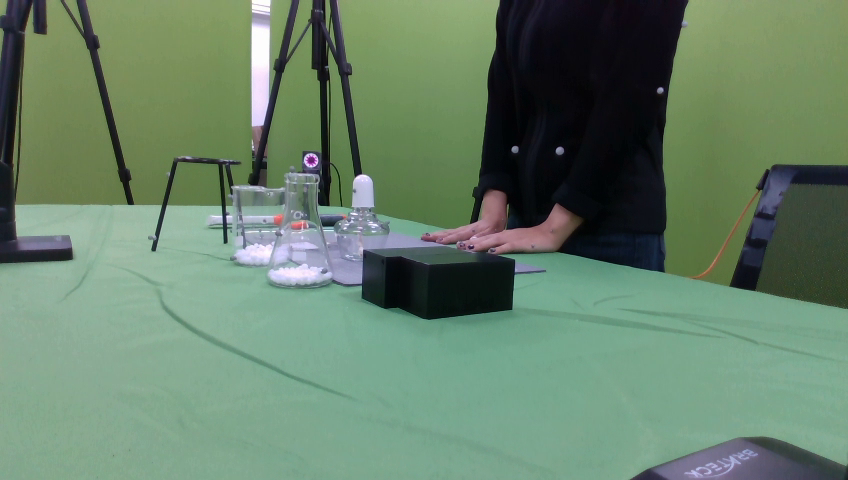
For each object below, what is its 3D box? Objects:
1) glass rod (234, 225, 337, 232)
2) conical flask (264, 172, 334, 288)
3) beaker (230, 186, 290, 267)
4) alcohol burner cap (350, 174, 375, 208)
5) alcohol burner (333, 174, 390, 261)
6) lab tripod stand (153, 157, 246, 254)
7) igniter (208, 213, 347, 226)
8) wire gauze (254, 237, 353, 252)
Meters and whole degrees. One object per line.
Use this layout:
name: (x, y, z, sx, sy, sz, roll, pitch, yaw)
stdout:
glass rod: (-0.256, -0.022, 1.136, 0.201, 0.008, 0.008, -3, 9, -33)
conical flask: (-0.136, -0.013, 0.661, 0.075, 0.122, 0.075, 2, 7, 0)
beaker: (-0.209, -0.019, 0.778, 0.074, 0.100, 0.084, 3, 7, 4)
alcohol burner cap: (-0.085, -0.067, 0.829, 0.034, 0.048, 0.034, 0, 2, 0)
alcohol burner: (-0.085, -0.031, 0.832, 0.078, 0.119, 0.078, 3, 5, 0)
lab tripod stand: (-0.305, -0.051, 0.865, 0.148, 0.131, 0.148, 4, 7, 0)
igniter: (-0.283, -0.040, 1.200, 0.278, 0.025, 0.057, -2, -2, -34)
wire gauze: (-0.188, 0.004, 0.940, 0.122, 0.011, 0.124, -2, 6, -34)
